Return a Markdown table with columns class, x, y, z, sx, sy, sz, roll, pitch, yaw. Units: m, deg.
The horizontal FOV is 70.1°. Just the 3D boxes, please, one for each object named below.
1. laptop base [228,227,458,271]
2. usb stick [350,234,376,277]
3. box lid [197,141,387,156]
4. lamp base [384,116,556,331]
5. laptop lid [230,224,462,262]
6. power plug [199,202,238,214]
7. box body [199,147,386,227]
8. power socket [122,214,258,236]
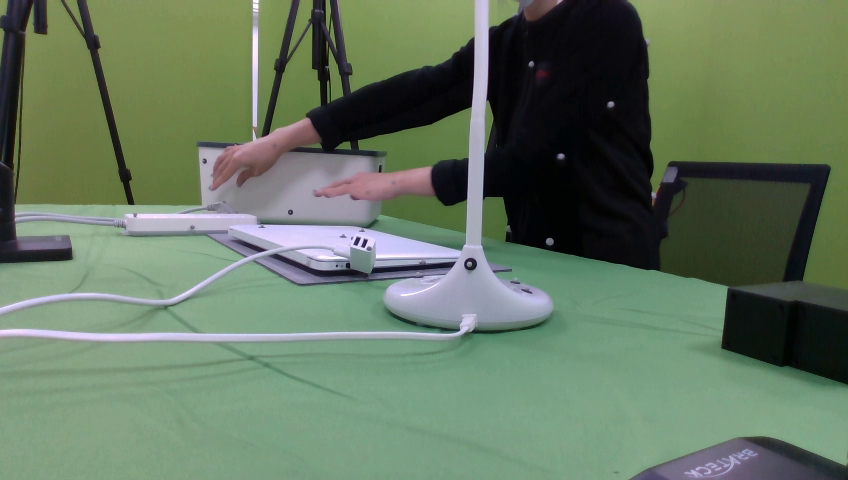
| class | x | y | z | sx | sy | sz | roll | pitch | yaw |
| --- | --- | --- | --- | --- | --- | --- | --- | --- | --- |
| laptop base | -0.122 | 0.011 | 0.889 | 0.237 | 0.023 | 0.352 | 2 | 6 | -35 |
| usb stick | -0.069 | 0.020 | 0.689 | 0.027 | 0.059 | 0.021 | 12 | 53 | 8 |
| box lid | -0.275 | -0.198 | 1.325 | 0.372 | 0.015 | 0.263 | 3 | 8 | 1 |
| lamp base | 0.046 | -0.019 | 0.545 | 0.161 | 0.180 | 0.179 | 1 | 10 | -4 |
| laptop lid | -0.119 | 0.000 | 0.888 | 0.243 | 0.013 | 0.355 | 1 | 7 | -33 |
| power plug | -0.391 | -0.046 | 1.164 | 0.072 | 0.052 | 0.035 | -12 | 1 | 28 |
| box body | -0.277 | -0.124 | 1.334 | 0.364 | 0.160 | 0.254 | 3 | 7 | 1 |
| power socket | -0.399 | -0.028 | 1.050 | 0.228 | 0.032 | 0.072 | -3 | 8 | -33 |
